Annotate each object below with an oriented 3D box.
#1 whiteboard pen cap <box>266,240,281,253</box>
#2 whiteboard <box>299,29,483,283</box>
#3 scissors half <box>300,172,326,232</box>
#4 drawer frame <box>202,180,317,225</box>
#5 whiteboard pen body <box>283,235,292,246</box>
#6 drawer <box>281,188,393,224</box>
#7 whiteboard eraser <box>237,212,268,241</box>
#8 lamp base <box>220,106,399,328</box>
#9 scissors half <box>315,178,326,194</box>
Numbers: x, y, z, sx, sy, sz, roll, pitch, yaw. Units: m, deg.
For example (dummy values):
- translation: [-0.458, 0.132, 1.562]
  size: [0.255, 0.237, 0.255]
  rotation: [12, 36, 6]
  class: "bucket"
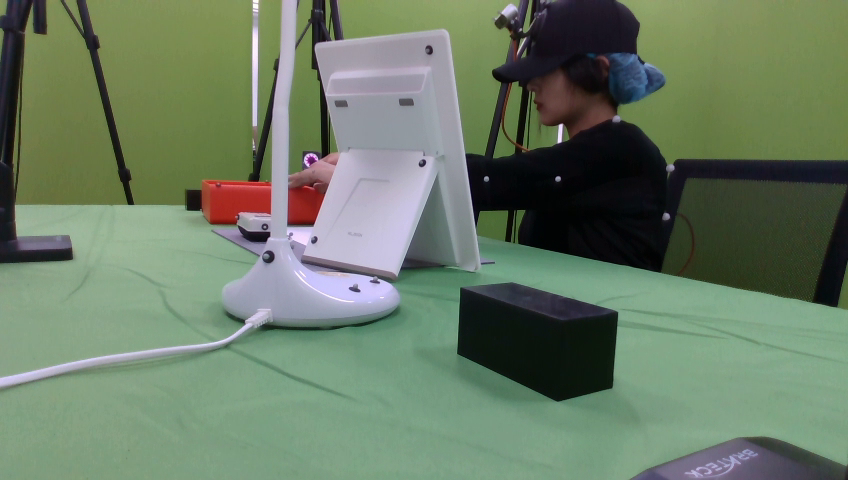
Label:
- translation: [-0.202, 0.009, 0.813]
  size: [0.018, 0.018, 0.033]
  rotation: [1, 3, -8]
  class: "whiteboard pen cap"
- translation: [-0.074, -0.082, 0.742]
  size: [0.216, 0.305, 0.144]
  rotation: [9, 29, 38]
  class: "whiteboard"
- translation: [-0.250, -0.085, 1.357]
  size: [0.013, 0.040, 0.175]
  rotation: [11, 50, 4]
  class: "scissors half"
- translation: [-0.356, -0.084, 1.300]
  size: [0.214, 0.082, 0.200]
  rotation: [-2, 9, -25]
  class: "drawer frame"
- translation: [-0.206, 0.005, 0.872]
  size: [0.017, 0.017, 0.140]
  rotation: [2, 4, -6]
  class: "whiteboard pen body"
- translation: [-0.200, -0.081, 1.371]
  size: [0.213, 0.073, 0.193]
  rotation: [0, 9, -24]
  class: "drawer"
- translation: [-0.272, -0.023, 0.998]
  size: [0.056, 0.042, 0.112]
  rotation: [-3, 9, -26]
  class: "whiteboard eraser"
- translation: [-0.102, -0.023, 0.531]
  size: [0.160, 0.180, 0.179]
  rotation: [4, 10, 10]
  class: "lamp base"
- translation: [-0.249, -0.095, 1.349]
  size: [0.013, 0.040, 0.175]
  rotation: [5, 33, 7]
  class: "scissors half"
